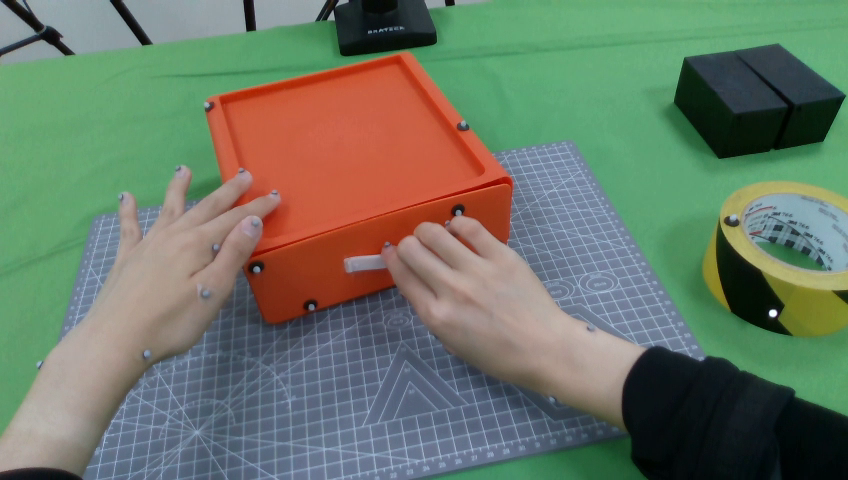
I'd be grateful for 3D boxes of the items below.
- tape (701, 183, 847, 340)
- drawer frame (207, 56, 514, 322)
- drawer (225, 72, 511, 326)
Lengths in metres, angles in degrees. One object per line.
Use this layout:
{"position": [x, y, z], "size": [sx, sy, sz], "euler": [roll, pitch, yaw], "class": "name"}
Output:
{"position": [0.266, 0.012, 0.442], "size": [0.117, 0.053, 0.115], "euler": [-2, 45, 2], "class": "tape"}
{"position": [-0.062, -0.055, 0.509], "size": [0.202, 0.083, 0.211], "euler": [-18, 46, -13], "class": "drawer frame"}
{"position": [-0.060, -0.049, 0.507], "size": [0.195, 0.074, 0.209], "euler": [-18, 45, -12], "class": "drawer"}
